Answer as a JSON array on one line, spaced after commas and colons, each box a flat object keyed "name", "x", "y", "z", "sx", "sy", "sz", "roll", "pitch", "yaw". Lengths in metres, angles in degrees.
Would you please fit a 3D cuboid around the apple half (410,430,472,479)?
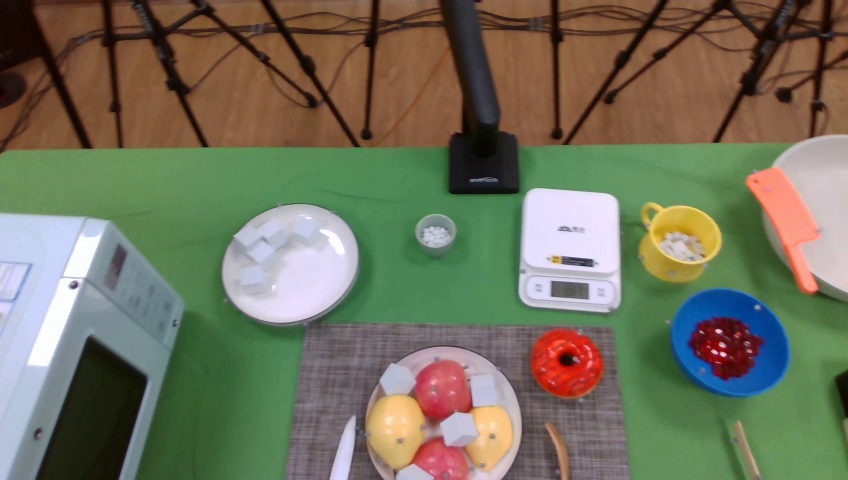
[{"name": "apple half", "x": 0.020, "y": 0.280, "z": 0.774, "sx": 0.081, "sy": 0.033, "sz": 0.080, "roll": 0, "pitch": 56, "yaw": 1}]

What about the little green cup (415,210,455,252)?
[{"name": "little green cup", "x": 0.018, "y": -0.012, "z": 0.947, "sx": 0.061, "sy": 0.039, "sz": 0.061, "roll": -1, "pitch": 61, "yaw": 2}]

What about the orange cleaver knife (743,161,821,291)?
[{"name": "orange cleaver knife", "x": 0.531, "y": -0.026, "z": 0.875, "sx": 0.077, "sy": 0.012, "sz": 0.209, "roll": -7, "pitch": 62, "yaw": -5}]

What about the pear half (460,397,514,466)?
[{"name": "pear half", "x": 0.080, "y": 0.247, "z": 0.793, "sx": 0.070, "sy": 0.031, "sz": 0.087, "roll": -4, "pitch": 58, "yaw": 16}]

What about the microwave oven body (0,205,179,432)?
[{"name": "microwave oven body", "x": -0.536, "y": 0.205, "z": 0.720, "sx": 0.326, "sy": 0.262, "sz": 0.438, "roll": 3, "pitch": 62, "yaw": 3}]

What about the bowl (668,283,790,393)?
[{"name": "bowl", "x": 0.402, "y": 0.142, "z": 0.826, "sx": 0.151, "sy": 0.077, "sz": 0.150, "roll": -1, "pitch": 62, "yaw": 2}]

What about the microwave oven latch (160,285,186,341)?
[{"name": "microwave oven latch", "x": -0.370, "y": 0.105, "z": 0.878, "sx": 0.030, "sy": 0.030, "sz": 0.078, "roll": 5, "pitch": 62, "yaw": 4}]

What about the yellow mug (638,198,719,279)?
[{"name": "yellow mug", "x": 0.373, "y": -0.012, "z": 0.917, "sx": 0.100, "sy": 0.064, "sz": 0.129, "roll": -28, "pitch": 63, "yaw": -12}]

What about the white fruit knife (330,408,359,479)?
[{"name": "white fruit knife", "x": -0.110, "y": 0.318, "z": 0.781, "sx": 0.027, "sy": 0.016, "sz": 0.206, "roll": 13, "pitch": 61, "yaw": -4}]

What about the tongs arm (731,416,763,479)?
[{"name": "tongs arm", "x": 0.453, "y": 0.398, "z": 0.709, "sx": 0.051, "sy": 0.027, "sz": 0.381, "roll": -5, "pitch": 62, "yaw": -5}]

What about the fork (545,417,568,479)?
[{"name": "fork", "x": 0.186, "y": 0.326, "z": 0.763, "sx": 0.018, "sy": 0.028, "sz": 0.205, "roll": -20, "pitch": 62, "yaw": 22}]

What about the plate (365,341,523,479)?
[{"name": "plate", "x": 0.027, "y": 0.238, "z": 0.807, "sx": 0.209, "sy": 0.038, "sz": 0.207, "roll": -1, "pitch": 62, "yaw": 2}]

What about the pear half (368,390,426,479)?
[{"name": "pear half", "x": -0.033, "y": 0.248, "z": 0.779, "sx": 0.076, "sy": 0.056, "sz": 0.109, "roll": -2, "pitch": 65, "yaw": -8}]

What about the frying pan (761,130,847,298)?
[{"name": "frying pan", "x": 0.693, "y": 0.041, "z": 0.854, "sx": 0.307, "sy": 0.104, "sz": 0.482, "roll": -23, "pitch": 55, "yaw": -9}]

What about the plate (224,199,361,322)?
[{"name": "plate", "x": -0.198, "y": 0.032, "z": 0.932, "sx": 0.207, "sy": 0.039, "sz": 0.206, "roll": -1, "pitch": 61, "yaw": 2}]

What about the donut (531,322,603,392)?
[{"name": "donut", "x": 0.196, "y": 0.161, "z": 0.838, "sx": 0.099, "sy": 0.048, "sz": 0.098, "roll": -2, "pitch": 62, "yaw": 4}]

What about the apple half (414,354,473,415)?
[{"name": "apple half", "x": 0.025, "y": 0.191, "z": 0.812, "sx": 0.075, "sy": 0.054, "sz": 0.080, "roll": -11, "pitch": 65, "yaw": -1}]

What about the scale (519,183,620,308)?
[{"name": "scale", "x": 0.225, "y": 0.005, "z": 0.933, "sx": 0.148, "sy": 0.032, "sz": 0.199, "roll": 4, "pitch": 62, "yaw": 5}]

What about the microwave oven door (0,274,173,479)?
[{"name": "microwave oven door", "x": -0.394, "y": 0.246, "z": 0.685, "sx": 0.039, "sy": 0.246, "sz": 0.353, "roll": 3, "pitch": 61, "yaw": 4}]

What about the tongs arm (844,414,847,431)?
[{"name": "tongs arm", "x": 0.537, "y": 0.396, "z": 0.712, "sx": 0.028, "sy": 0.028, "sz": 0.384, "roll": 9, "pitch": 63, "yaw": -2}]
